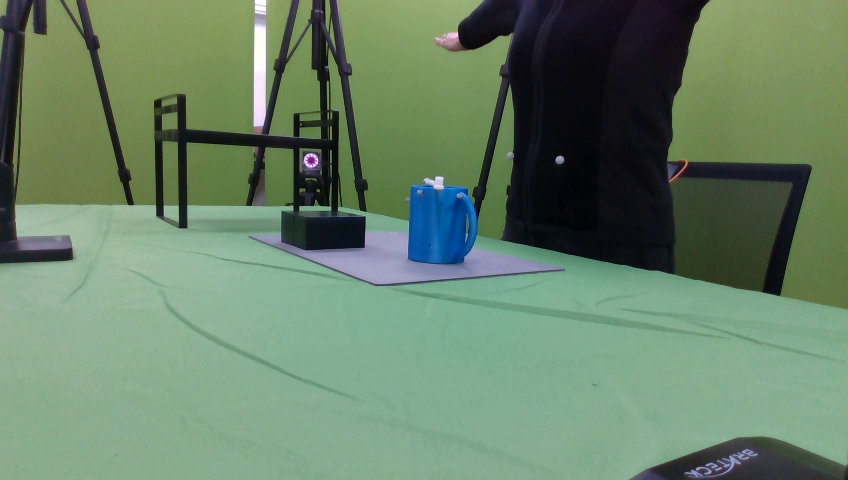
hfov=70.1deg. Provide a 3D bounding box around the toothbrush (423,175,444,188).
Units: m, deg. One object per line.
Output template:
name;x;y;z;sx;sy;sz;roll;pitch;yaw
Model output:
toothbrush;0.012;-0.085;0.853;0.014;0.016;0.181;-4;8;-4

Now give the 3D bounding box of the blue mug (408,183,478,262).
blue mug;0.030;-0.024;0.843;0.083;0.106;0.116;-4;10;-43
